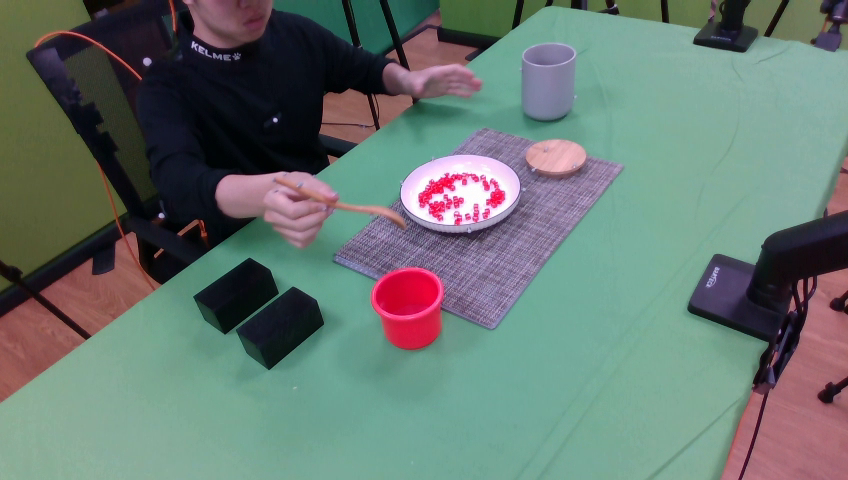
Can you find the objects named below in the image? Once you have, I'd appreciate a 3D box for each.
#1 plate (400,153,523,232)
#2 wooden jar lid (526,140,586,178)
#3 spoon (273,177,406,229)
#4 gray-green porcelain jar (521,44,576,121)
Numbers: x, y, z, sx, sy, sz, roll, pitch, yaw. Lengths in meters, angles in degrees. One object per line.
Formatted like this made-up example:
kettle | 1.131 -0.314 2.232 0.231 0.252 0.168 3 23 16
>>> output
plate | 0.065 -0.078 1.034 0.207 0.039 0.206 -4 41 4
wooden jar lid | 0.240 -0.147 1.103 0.108 0.021 0.108 -4 42 4
spoon | -0.103 -0.046 0.773 0.195 0.021 0.041 15 7 -34
gray-green porcelain jar | 0.249 -0.313 1.219 0.106 0.127 0.105 -4 41 4
